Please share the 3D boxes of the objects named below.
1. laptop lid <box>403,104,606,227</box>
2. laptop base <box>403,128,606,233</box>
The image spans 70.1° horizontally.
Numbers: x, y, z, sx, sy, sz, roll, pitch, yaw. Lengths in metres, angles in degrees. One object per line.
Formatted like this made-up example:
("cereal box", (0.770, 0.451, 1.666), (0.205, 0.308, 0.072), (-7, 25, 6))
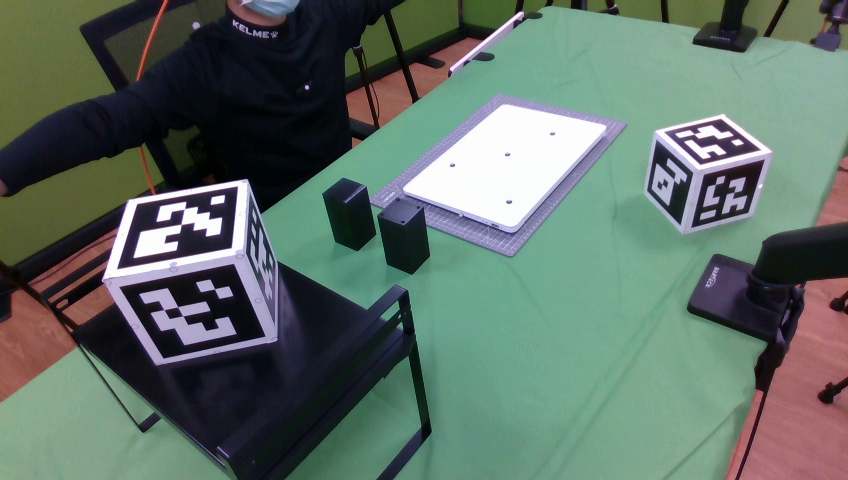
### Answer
("laptop lid", (0.153, -0.154, 1.110), (0.240, 0.013, 0.358), (22, 48, 33))
("laptop base", (0.156, -0.144, 1.116), (0.233, 0.023, 0.355), (20, 47, 32))
